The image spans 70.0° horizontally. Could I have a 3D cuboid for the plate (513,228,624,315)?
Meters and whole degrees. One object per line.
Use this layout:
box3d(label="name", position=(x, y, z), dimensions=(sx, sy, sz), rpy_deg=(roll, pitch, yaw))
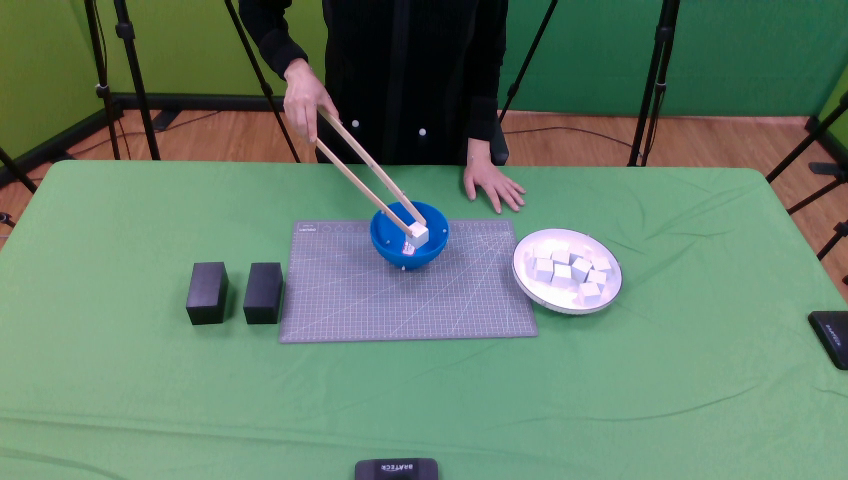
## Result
box3d(label="plate", position=(0.268, 0.063, 1.146), dimensions=(0.208, 0.039, 0.206), rpy_deg=(3, 46, -3))

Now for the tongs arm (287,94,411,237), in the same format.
box3d(label="tongs arm", position=(-0.150, -0.144, 1.148), dimensions=(0.028, 0.028, 0.386), rpy_deg=(-36, 71, -21))

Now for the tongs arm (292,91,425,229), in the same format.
box3d(label="tongs arm", position=(-0.132, -0.156, 1.158), dimensions=(0.051, 0.026, 0.383), rpy_deg=(-31, 69, -22))

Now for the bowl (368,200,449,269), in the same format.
box3d(label="bowl", position=(-0.031, 0.002, 1.151), dimensions=(0.151, 0.077, 0.150), rpy_deg=(2, 46, -2))
